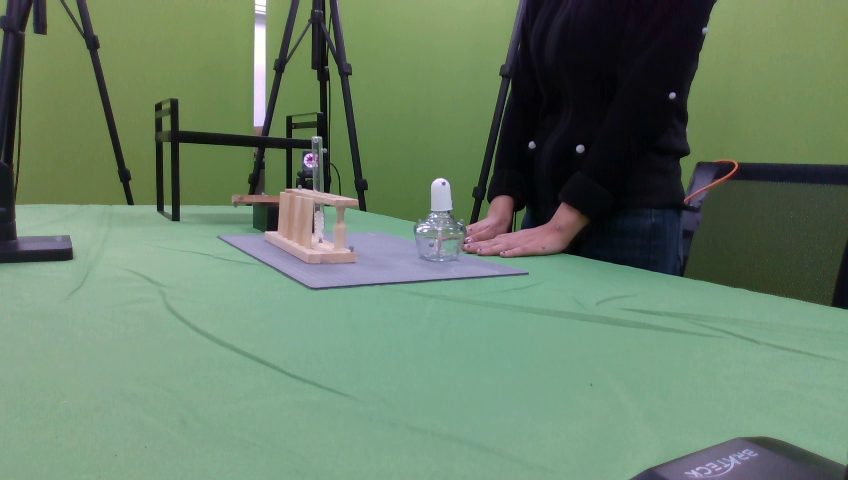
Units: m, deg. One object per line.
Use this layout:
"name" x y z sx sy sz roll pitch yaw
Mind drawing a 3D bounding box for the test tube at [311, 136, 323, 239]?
"test tube" -0.155 -0.076 0.878 0.017 0.150 0.017 0 7 0

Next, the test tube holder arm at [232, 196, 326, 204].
"test tube holder arm" -0.271 -0.076 1.145 0.179 0.015 0.013 -1 1 -32

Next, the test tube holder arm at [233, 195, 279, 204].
"test tube holder arm" -0.307 -0.075 1.116 0.088 0.015 0.010 -1 1 -31

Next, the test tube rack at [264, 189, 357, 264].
"test tube rack" -0.175 -0.028 0.890 0.067 0.085 0.241 -1 8 -28

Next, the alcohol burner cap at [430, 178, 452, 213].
"alcohol burner cap" 0.024 -0.064 0.859 0.034 0.048 0.034 -1 12 1

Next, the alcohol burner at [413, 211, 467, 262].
"alcohol burner" 0.022 -0.029 0.864 0.078 0.119 0.078 1 7 0
